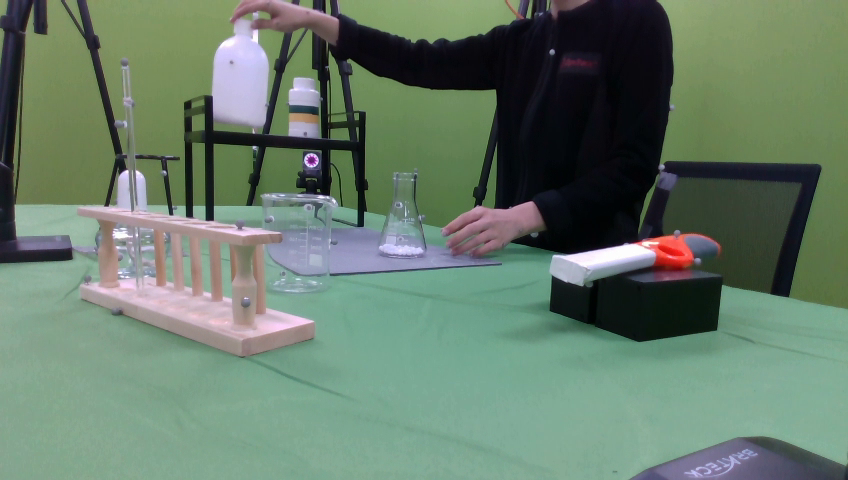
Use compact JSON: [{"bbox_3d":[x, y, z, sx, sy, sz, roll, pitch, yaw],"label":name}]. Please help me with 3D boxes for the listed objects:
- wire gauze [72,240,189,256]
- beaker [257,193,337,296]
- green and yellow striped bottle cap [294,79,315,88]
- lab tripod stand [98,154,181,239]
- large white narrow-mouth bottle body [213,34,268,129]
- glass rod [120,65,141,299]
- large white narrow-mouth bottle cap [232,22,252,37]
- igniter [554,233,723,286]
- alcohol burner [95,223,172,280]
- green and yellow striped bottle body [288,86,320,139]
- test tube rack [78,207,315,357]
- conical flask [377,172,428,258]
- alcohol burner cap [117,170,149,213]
[{"bbox_3d":[-0.399,0.013,0.820,0.126,0.011,0.121,-3,8,-37],"label":"wire gauze"},{"bbox_3d":[-0.130,0.003,0.628,0.084,0.100,0.074,5,8,15],"label":"beaker"},{"bbox_3d":[-0.248,-0.323,1.256,0.045,0.020,0.045,3,9,0],"label":"green and yellow striped bottle cap"},{"bbox_3d":[-0.427,-0.066,0.942,0.148,0.131,0.148,1,6,0],"label":"lab tripod stand"},{"bbox_3d":[-0.353,-0.316,1.167,0.102,0.194,0.101,4,9,0],"label":"large white narrow-mouth bottle body"},{"bbox_3d":[-0.249,-0.047,0.513,0.008,0.199,0.008,-1,4,0],"label":"glass rod"},{"bbox_3d":[-0.347,-0.401,1.153,0.038,0.024,0.037,4,9,0],"label":"large white narrow-mouth bottle cap"},{"bbox_3d":[0.214,0.015,0.570,0.278,0.025,0.057,-5,22,-44],"label":"igniter"},{"bbox_3d":[-0.320,-0.016,0.667,0.078,0.119,0.078,0,7,0],"label":"alcohol burner"},{"bbox_3d":[-0.250,-0.272,1.261,0.063,0.119,0.063,3,7,0],"label":"green and yellow striped bottle body"},{"bbox_3d":[-0.196,0.023,0.500,0.241,0.085,0.067,8,9,37],"label":"test tube rack"},{"bbox_3d":[-0.029,-0.037,0.875,0.075,0.122,0.075,2,7,0],"label":"conical flask"},{"bbox_3d":[-0.320,-0.052,0.661,0.034,0.048,0.034,-3,0,0],"label":"alcohol burner cap"}]
